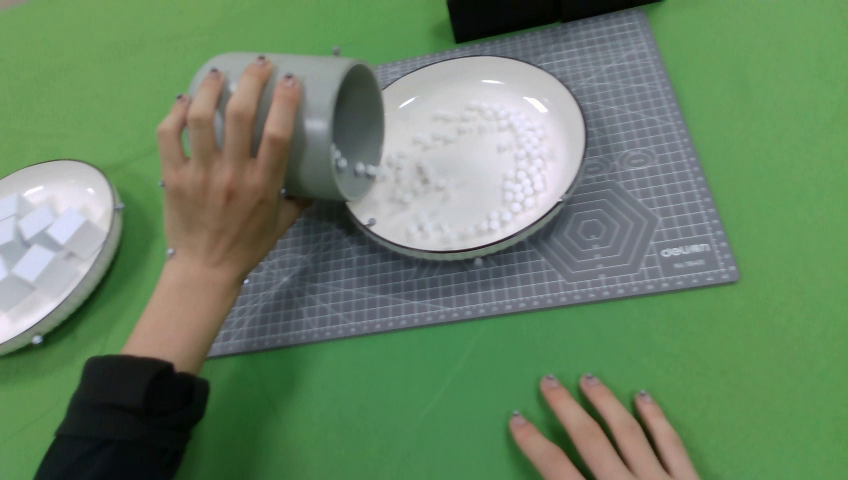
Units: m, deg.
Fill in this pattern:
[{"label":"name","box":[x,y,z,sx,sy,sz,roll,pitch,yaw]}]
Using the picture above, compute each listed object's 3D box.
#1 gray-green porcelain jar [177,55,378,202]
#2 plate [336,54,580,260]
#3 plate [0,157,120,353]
[{"label":"gray-green porcelain jar","box":[-0.112,-0.087,0.466,0.126,0.107,0.105,7,61,15]},{"label":"plate","box":[0.024,-0.070,0.506,0.209,0.038,0.207,-7,57,11]},{"label":"plate","box":[-0.374,0.015,0.561,0.207,0.039,0.205,-7,57,11]}]
